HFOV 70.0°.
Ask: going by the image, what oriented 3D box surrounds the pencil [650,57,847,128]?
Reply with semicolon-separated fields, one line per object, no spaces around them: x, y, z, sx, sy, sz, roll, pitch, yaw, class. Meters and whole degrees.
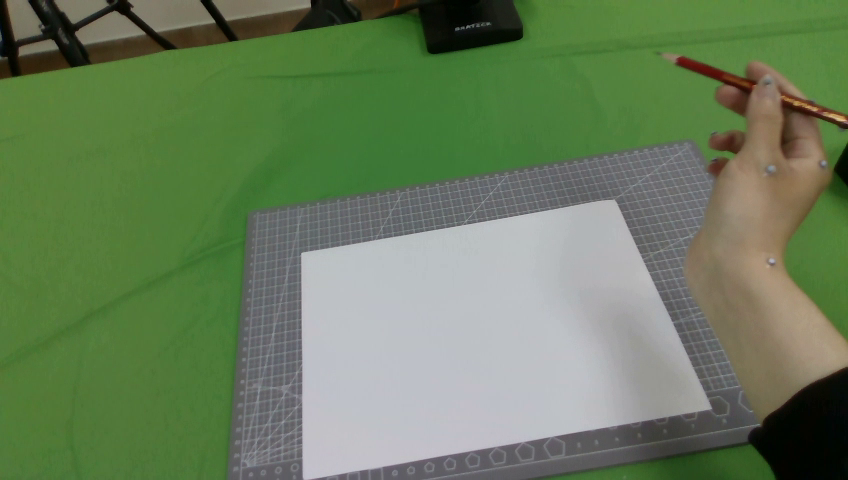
0.233;-0.089;0.389;0.192;0.012;0.012;32;62;31;pencil
